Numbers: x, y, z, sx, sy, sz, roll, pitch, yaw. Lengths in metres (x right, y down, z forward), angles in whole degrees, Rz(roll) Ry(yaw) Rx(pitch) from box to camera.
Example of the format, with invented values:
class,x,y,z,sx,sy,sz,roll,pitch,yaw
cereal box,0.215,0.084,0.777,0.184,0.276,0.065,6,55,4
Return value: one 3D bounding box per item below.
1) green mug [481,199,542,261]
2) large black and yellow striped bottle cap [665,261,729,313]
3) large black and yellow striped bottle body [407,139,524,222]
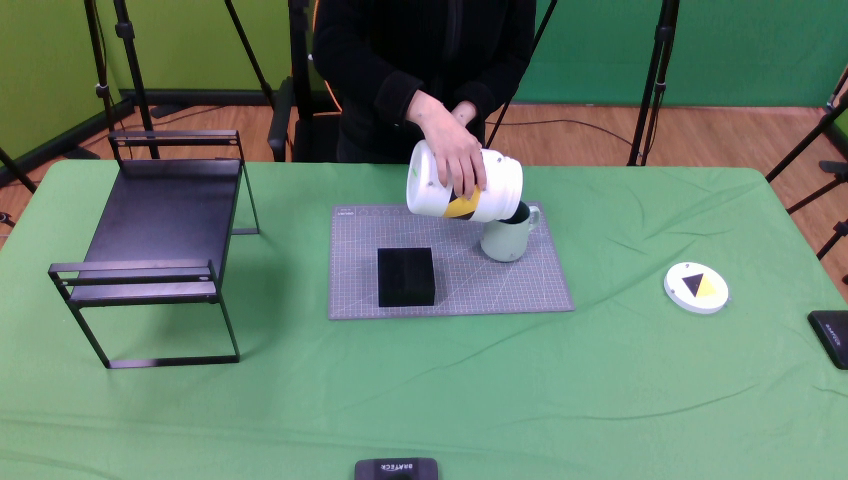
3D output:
class,x,y,z,sx,sy,sz,roll,pitch,yaw
green mug,0.174,-0.027,1.173,0.125,0.105,0.092,-22,51,-23
large black and yellow striped bottle cap,0.518,0.087,1.152,0.115,0.019,0.114,2,47,-2
large black and yellow striped bottle body,0.071,-0.102,1.070,0.184,0.131,0.130,6,45,-13
